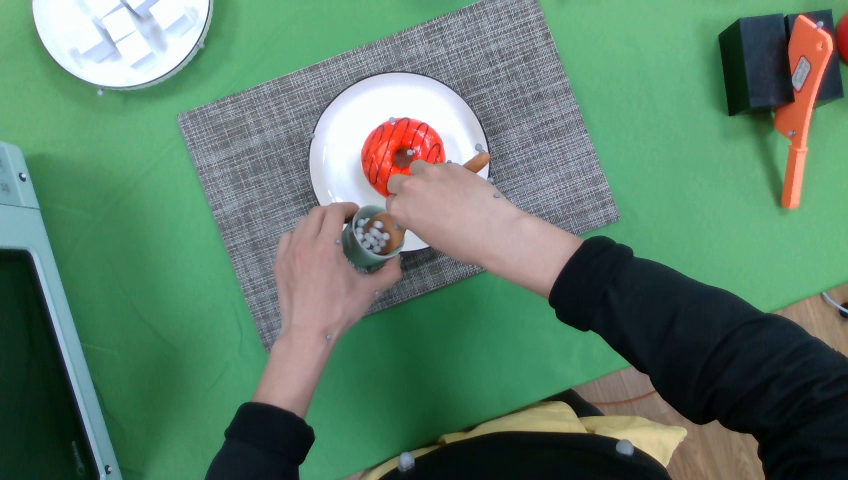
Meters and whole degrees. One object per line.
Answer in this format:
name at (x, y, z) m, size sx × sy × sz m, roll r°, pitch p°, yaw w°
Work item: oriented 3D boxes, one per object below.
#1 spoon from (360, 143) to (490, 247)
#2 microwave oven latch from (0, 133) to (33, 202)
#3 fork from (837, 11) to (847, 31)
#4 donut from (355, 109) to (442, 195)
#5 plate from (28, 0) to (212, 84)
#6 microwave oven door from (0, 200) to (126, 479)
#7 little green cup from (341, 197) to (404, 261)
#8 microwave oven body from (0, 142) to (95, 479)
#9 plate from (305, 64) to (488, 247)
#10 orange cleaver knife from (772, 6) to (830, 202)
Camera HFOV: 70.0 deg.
spoon at (-0.004, -0.039, 0.568) m, size 0.021 × 0.193 × 0.041 m, roll -29°, pitch 89°, yaw -41°
microwave oven latch at (-0.474, -0.080, 0.686) m, size 0.030 × 0.029 × 0.079 m, roll -17°, pitch 90°, yaw 0°
fork at (0.567, -0.247, 0.649) m, size 0.206 × 0.019 × 0.028 m, roll 8°, pitch 87°, yaw 42°
donut at (-0.028, -0.100, 0.689) m, size 0.099 × 0.048 × 0.099 m, roll 0°, pitch 92°, yaw 1°
plate at (-0.347, -0.282, 0.706) m, size 0.208 × 0.039 × 0.207 m, roll 0°, pitch 89°, yaw 0°
microwave oven door at (-0.410, 0.128, 0.583) m, size 0.039 × 0.244 × 0.355 m, roll -18°, pitch 89°, yaw 0°
little green cup at (-0.056, -0.009, 0.626) m, size 0.062 × 0.038 × 0.061 m, roll 13°, pitch 61°, yaw -24°
microwave oven body at (-0.562, 0.131, 0.589) m, size 0.326 × 0.260 × 0.441 m, roll -18°, pitch 90°, yaw 0°
plate at (-0.031, -0.096, 0.700) m, size 0.209 × 0.038 × 0.209 m, roll 0°, pitch 90°, yaw 0°
orange cleaver knife at (0.414, -0.148, 0.681) m, size 0.012 × 0.076 × 0.213 m, roll -6°, pitch 119°, yaw 3°
